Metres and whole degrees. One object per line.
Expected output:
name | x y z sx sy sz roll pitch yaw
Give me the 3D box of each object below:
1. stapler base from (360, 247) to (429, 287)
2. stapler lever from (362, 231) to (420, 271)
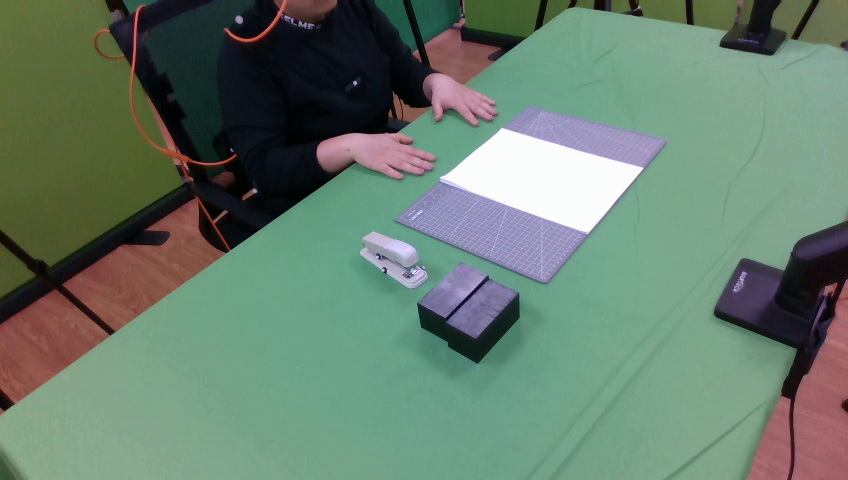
stapler base | -0.048 0.031 0.948 0.041 0.024 0.129 -34 45 -31
stapler lever | -0.052 0.011 0.933 0.027 0.040 0.117 -34 45 -31
